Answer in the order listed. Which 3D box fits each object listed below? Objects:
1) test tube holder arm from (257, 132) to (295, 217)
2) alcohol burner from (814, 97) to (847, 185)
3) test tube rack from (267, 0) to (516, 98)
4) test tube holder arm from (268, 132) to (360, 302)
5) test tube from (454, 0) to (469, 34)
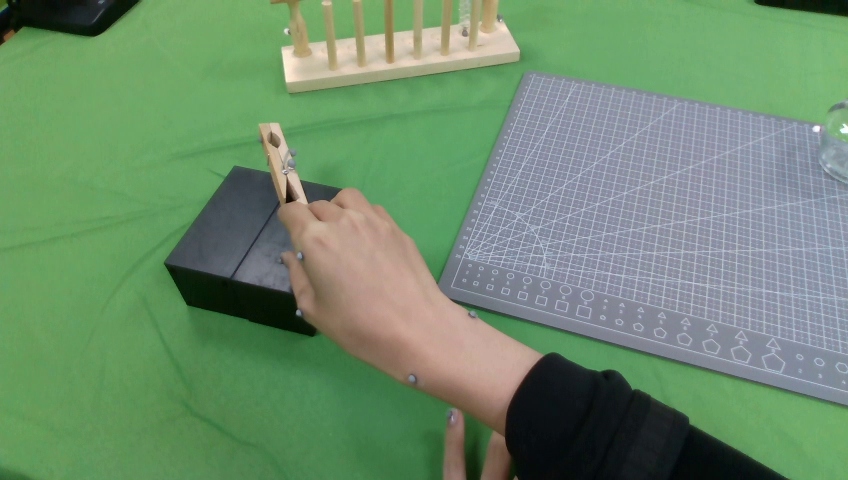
[{"bbox_3d":[-0.110,-0.051,0.459,0.010,0.015,0.087,-22,52,-11],"label":"test tube holder arm"},{"bbox_3d":[0.372,-0.102,0.491,0.078,0.120,0.077,0,48,0],"label":"alcohol burner"},{"bbox_3d":[-0.029,-0.216,0.615,0.243,0.086,0.066,-10,50,-8],"label":"test tube rack"},{"bbox_3d":[-0.085,-0.023,0.434,0.013,0.015,0.176,-26,53,-14],"label":"test tube holder arm"},{"bbox_3d":[0.037,-0.276,0.600,0.017,0.151,0.017,-1,47,2],"label":"test tube"}]
